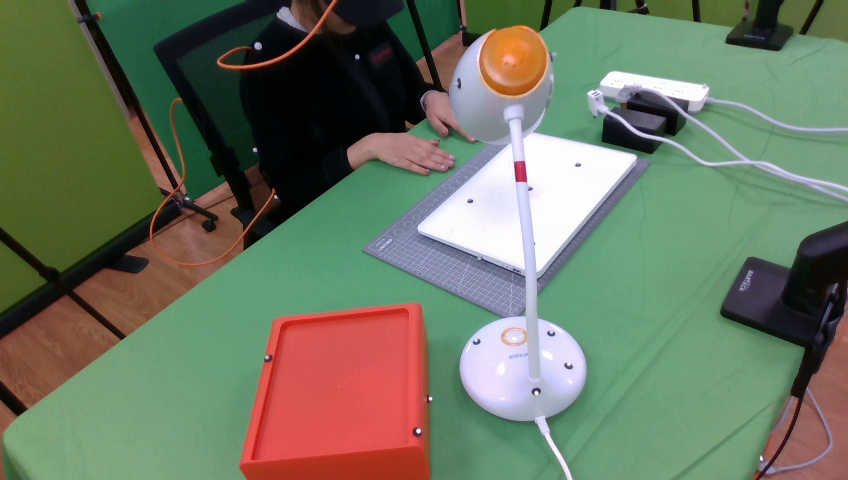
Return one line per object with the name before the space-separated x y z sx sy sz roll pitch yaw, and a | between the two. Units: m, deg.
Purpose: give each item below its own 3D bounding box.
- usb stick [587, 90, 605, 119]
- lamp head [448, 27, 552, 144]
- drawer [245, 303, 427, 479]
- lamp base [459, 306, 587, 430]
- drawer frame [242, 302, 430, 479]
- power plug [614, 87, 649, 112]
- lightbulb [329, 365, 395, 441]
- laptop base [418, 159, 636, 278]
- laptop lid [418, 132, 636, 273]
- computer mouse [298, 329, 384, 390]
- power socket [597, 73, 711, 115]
usb stick | 0.334 -0.258 1.170 0.021 0.059 0.027 -28 44 -5
lamp head | 0.082 -0.161 0.618 0.112 0.112 0.123 -10 2 0
drawer | -0.097 0.183 0.743 0.194 0.073 0.210 -6 40 3
lamp base | 0.119 0.107 0.713 0.161 0.181 0.178 -14 42 -6
drawer frame | -0.095 0.184 0.740 0.202 0.083 0.212 -7 40 3
power plug | 0.406 -0.275 1.192 0.035 0.053 0.072 -16 24 -15
lightbulb | -0.080 0.195 0.738 0.060 0.060 0.107 -32 61 -25
laptop base | 0.185 -0.074 1.042 0.233 0.023 0.355 19 47 35
laptop lid | 0.181 -0.084 1.036 0.239 0.013 0.358 22 49 35
computer mouse | -0.111 0.156 0.799 0.117 0.041 0.062 -15 41 1
power socket | 0.469 -0.304 1.249 0.225 0.033 0.072 20 49 30
